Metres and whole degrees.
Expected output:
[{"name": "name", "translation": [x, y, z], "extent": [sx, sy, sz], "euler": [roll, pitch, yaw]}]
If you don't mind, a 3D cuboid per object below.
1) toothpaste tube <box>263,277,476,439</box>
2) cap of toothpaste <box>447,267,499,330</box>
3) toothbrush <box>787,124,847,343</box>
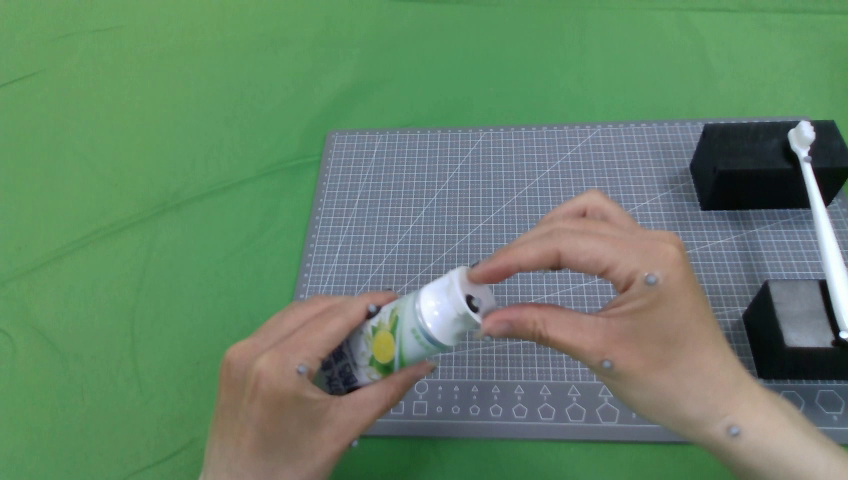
[{"name": "toothpaste tube", "translation": [-0.036, 0.065, 0.350], "extent": [0.165, 0.035, 0.054], "euler": [-32, 70, 30]}, {"name": "cap of toothpaste", "translation": [0.024, 0.031, 0.309], "extent": [0.011, 0.038, 0.037], "euler": [-35, 49, 26]}, {"name": "toothbrush", "translation": [0.276, -0.012, 0.417], "extent": [0.014, 0.017, 0.180], "euler": [12, 57, -4]}]
